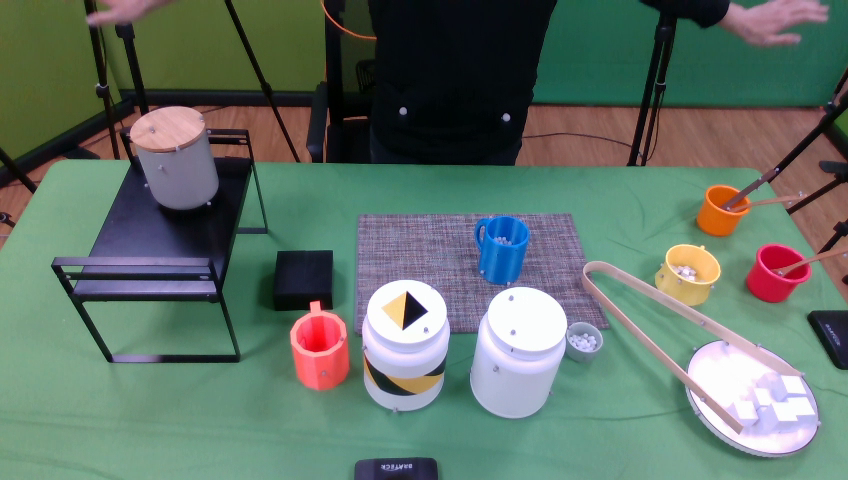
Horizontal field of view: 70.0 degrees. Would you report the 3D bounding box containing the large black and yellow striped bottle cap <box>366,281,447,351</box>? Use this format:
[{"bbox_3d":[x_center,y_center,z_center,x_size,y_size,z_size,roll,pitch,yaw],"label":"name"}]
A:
[{"bbox_3d":[-0.025,0.106,0.866,0.115,0.019,0.114,2,46,-1],"label":"large black and yellow striped bottle cap"}]

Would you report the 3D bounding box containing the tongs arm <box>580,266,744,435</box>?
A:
[{"bbox_3d":[0.384,0.173,1.028,0.028,0.028,0.385,-25,46,-15],"label":"tongs arm"}]

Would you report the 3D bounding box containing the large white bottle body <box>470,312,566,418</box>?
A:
[{"bbox_3d":[0.143,0.173,0.930,0.131,0.185,0.130,2,46,-2],"label":"large white bottle body"}]

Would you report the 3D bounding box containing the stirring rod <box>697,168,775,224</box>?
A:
[{"bbox_3d":[0.644,-0.090,1.252,0.176,0.006,0.014,-40,53,16],"label":"stirring rod"}]

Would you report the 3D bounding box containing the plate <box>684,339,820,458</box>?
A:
[{"bbox_3d":[0.523,0.256,0.982,0.208,0.039,0.206,2,46,-2],"label":"plate"}]

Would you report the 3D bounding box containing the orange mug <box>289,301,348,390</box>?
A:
[{"bbox_3d":[-0.170,0.162,0.976,0.083,0.101,0.125,-7,52,-11],"label":"orange mug"}]

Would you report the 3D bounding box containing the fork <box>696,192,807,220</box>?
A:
[{"bbox_3d":[0.655,-0.069,1.224,0.207,0.019,0.028,-17,33,45],"label":"fork"}]

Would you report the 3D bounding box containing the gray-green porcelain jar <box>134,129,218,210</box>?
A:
[{"bbox_3d":[-0.388,-0.120,0.960,0.106,0.127,0.105,2,46,-2],"label":"gray-green porcelain jar"}]

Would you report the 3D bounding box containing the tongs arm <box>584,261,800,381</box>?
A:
[{"bbox_3d":[0.452,0.137,1.064,0.051,0.027,0.382,-34,50,-27],"label":"tongs arm"}]

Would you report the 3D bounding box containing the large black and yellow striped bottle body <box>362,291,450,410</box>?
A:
[{"bbox_3d":[-0.029,0.163,0.928,0.131,0.185,0.130,2,47,-2],"label":"large black and yellow striped bottle body"}]

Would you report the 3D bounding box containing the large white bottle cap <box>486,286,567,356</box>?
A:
[{"bbox_3d":[0.147,0.114,0.869,0.115,0.018,0.114,3,46,-3],"label":"large white bottle cap"}]

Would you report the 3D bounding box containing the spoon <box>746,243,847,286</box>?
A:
[{"bbox_3d":[0.703,0.042,1.127,0.194,0.022,0.041,-29,33,30],"label":"spoon"}]

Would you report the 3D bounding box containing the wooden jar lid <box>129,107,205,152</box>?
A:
[{"bbox_3d":[-0.385,-0.163,0.915,0.108,0.021,0.107,2,47,-2],"label":"wooden jar lid"}]

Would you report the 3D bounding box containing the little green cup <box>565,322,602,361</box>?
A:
[{"bbox_3d":[0.270,0.176,1.039,0.061,0.039,0.061,2,46,-2],"label":"little green cup"}]

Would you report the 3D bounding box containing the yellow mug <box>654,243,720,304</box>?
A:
[{"bbox_3d":[0.504,0.054,1.154,0.099,0.064,0.130,28,50,22],"label":"yellow mug"}]

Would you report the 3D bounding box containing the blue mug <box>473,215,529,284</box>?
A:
[{"bbox_3d":[0.135,0.009,1.136,0.082,0.106,0.116,-32,56,-29],"label":"blue mug"}]
